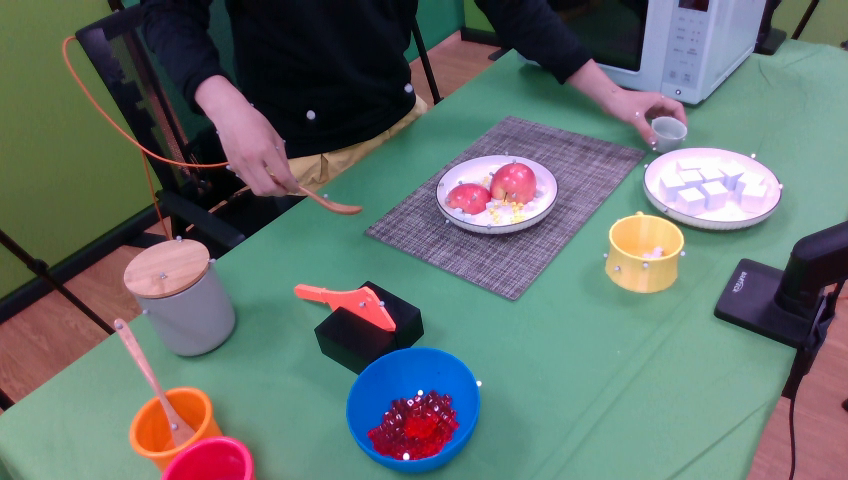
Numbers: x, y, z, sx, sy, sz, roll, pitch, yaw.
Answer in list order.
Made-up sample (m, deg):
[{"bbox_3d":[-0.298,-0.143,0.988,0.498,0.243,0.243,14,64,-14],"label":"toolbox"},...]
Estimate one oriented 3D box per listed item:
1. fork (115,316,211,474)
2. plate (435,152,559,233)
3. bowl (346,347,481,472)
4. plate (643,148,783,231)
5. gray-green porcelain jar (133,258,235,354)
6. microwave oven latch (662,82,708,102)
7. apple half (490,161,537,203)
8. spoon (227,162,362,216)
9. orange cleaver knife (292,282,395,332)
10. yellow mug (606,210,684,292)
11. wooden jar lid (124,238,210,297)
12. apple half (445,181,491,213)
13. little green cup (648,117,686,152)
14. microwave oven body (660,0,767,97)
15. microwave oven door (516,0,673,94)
[{"bbox_3d":[-0.308,0.179,0.708,0.028,0.018,0.207,-30,89,-21],"label":"fork"},{"bbox_3d":[0.124,-0.078,1.026,0.209,0.038,0.208,-4,40,4],"label":"plate"},{"bbox_3d":[-0.008,0.205,0.691,0.151,0.077,0.150,-4,40,4],"label":"bowl"},{"bbox_3d":[0.464,-0.080,0.986,0.207,0.039,0.206,-4,41,4],"label":"plate"},{"bbox_3d":[-0.327,0.086,0.836,0.106,0.127,0.105,-4,41,4],"label":"gray-green porcelain jar"},{"bbox_3d":[0.517,-0.298,1.203,0.078,0.029,0.030,27,52,34],"label":"microwave oven latch"},{"bbox_3d":[0.154,-0.106,1.030,0.080,0.053,0.075,22,46,31],"label":"apple half"},{"bbox_3d":[-0.180,-0.074,0.849,0.194,0.021,0.041,23,32,-8],"label":"spoon"},{"bbox_3d":[-0.115,0.091,0.835,0.209,0.077,0.012,2,32,48],"label":"orange cleaver knife"},{"bbox_3d":[0.318,0.007,0.883,0.100,0.064,0.130,0,41,9],"label":"yellow mug"},{"bbox_3d":[-0.335,0.038,0.794,0.108,0.021,0.108,-2,40,2],"label":"wooden jar lid"},{"bbox_3d":[0.077,-0.083,1.029,0.081,0.033,0.081,-2,41,2],"label":"apple half"},{"bbox_3d":[0.435,-0.189,1.088,0.061,0.039,0.061,1,48,-1],"label":"little green cup"},{"bbox_3d":[0.474,-0.517,1.314,0.438,0.261,0.327,26,51,34],"label":"microwave oven body"},{"bbox_3d":[0.344,-0.459,1.257,0.353,0.245,0.039,26,52,33],"label":"microwave oven door"}]
